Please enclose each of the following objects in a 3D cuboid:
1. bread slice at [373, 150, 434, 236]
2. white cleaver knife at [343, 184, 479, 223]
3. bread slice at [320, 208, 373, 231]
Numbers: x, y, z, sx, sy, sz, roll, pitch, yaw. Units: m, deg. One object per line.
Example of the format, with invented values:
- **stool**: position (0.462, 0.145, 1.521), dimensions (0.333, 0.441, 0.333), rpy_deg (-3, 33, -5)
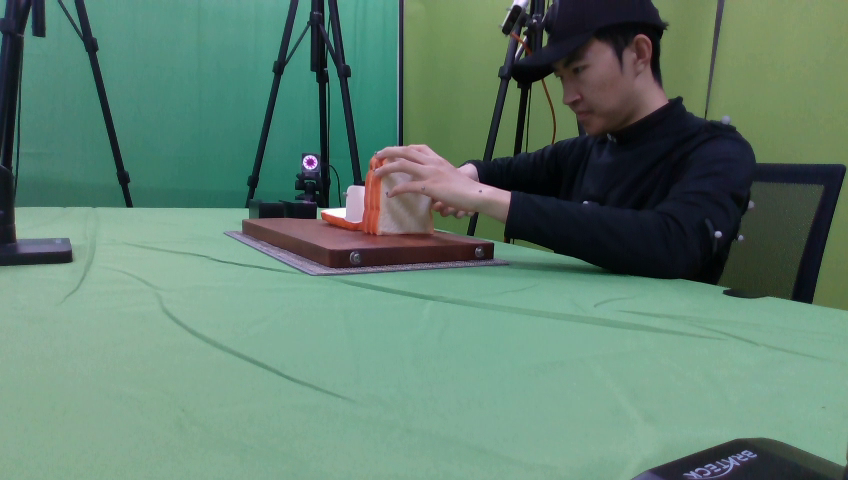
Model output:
- **bread slice**: position (-0.031, -0.073, 0.938), dimensions (0.107, 0.134, 0.018), rpy_deg (-5, 10, -36)
- **white cleaver knife**: position (-0.016, -0.059, 1.020), dimensions (0.288, 0.066, 0.021), rpy_deg (-2, 2, -38)
- **bread slice**: position (-0.113, -0.037, 1.042), dimensions (0.105, 0.019, 0.131), rpy_deg (-6, 16, -41)
